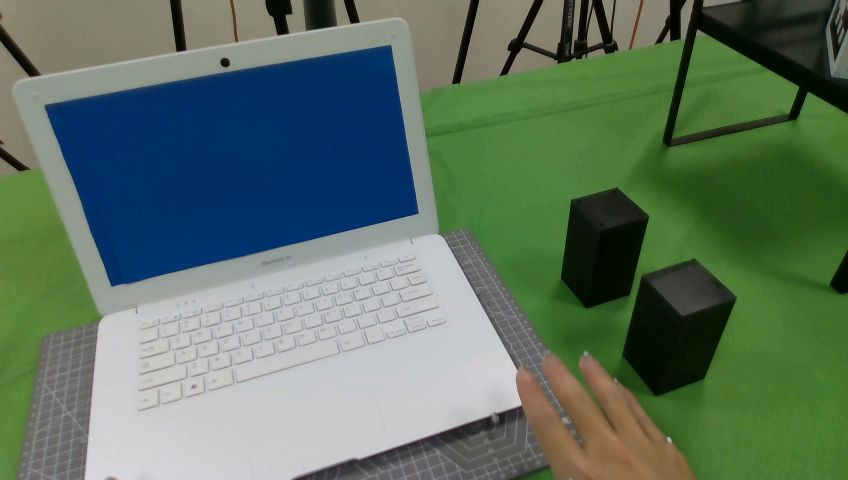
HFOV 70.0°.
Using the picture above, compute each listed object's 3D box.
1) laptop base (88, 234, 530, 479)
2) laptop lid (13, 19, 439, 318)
[{"bbox_3d":[-0.111,0.110,0.551,0.355,0.023,0.232,-14,44,-13],"label":"laptop base"},{"bbox_3d":[-0.166,-0.067,0.592,0.357,0.243,0.013,-16,23,-12],"label":"laptop lid"}]
